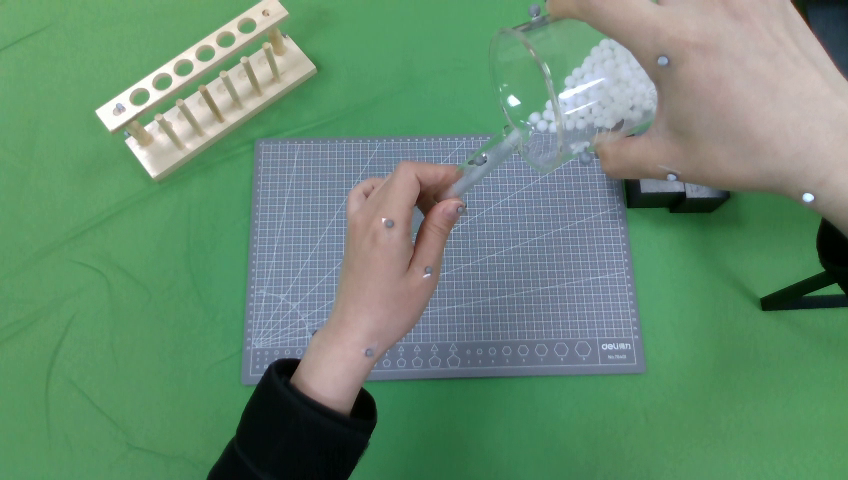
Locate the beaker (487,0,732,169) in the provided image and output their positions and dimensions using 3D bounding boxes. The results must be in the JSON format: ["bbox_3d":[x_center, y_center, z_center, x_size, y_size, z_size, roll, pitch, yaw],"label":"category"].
[{"bbox_3d":[0.093,-0.087,0.308,0.100,0.084,0.073,-23,77,-8],"label":"beaker"}]

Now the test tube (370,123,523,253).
[{"bbox_3d":[0.008,-0.028,0.390,0.017,0.150,0.017,21,52,-29],"label":"test tube"}]

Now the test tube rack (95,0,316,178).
[{"bbox_3d":[-0.253,-0.184,0.728,0.242,0.085,0.066,-38,77,-11],"label":"test tube rack"}]
